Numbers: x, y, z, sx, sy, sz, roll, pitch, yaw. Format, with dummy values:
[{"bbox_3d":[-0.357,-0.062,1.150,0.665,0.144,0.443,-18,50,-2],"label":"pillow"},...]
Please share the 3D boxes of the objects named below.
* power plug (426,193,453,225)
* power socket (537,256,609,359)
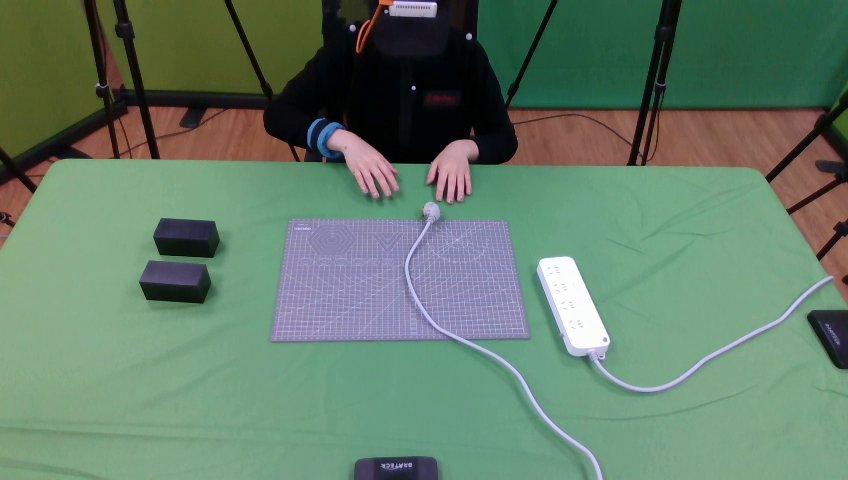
[{"bbox_3d":[0.032,-0.061,1.228,0.035,0.072,0.052,-22,92,-36],"label":"power plug"},{"bbox_3d":[0.266,0.115,1.097,0.072,0.033,0.225,-5,47,-8],"label":"power socket"}]
